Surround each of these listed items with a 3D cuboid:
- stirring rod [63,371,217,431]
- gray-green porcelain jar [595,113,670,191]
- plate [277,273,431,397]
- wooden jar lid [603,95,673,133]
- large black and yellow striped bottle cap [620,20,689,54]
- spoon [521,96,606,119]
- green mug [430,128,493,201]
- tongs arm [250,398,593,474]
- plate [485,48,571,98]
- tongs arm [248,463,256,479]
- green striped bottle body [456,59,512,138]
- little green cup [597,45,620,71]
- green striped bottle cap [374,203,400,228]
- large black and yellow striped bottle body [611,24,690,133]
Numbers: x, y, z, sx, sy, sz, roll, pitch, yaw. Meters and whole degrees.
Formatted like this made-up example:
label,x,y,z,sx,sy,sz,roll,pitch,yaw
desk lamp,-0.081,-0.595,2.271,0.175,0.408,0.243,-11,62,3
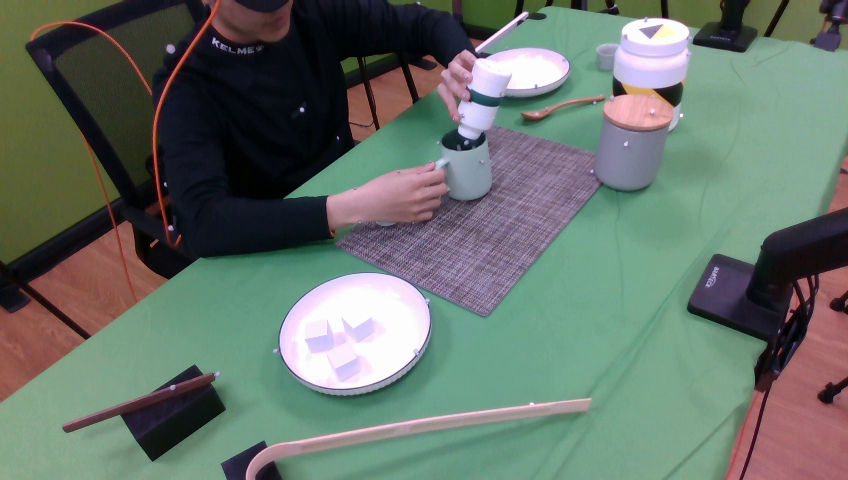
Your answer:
label,x,y,z,sx,sy,sz,roll,pitch,yaw
stirring rod,-0.337,0.192,0.723,0.177,0.014,0.005,-18,42,-12
gray-green porcelain jar,0.346,-0.155,1.017,0.106,0.127,0.105,-2,44,2
plate,-0.091,0.129,0.821,0.207,0.039,0.206,-4,40,4
wooden jar lid,0.343,-0.200,0.974,0.108,0.021,0.108,-2,39,2
large black and yellow striped bottle cap,0.411,-0.363,1.079,0.115,0.019,0.114,-3,42,4
spoon,0.291,-0.277,1.249,0.194,0.022,0.041,-18,23,-11
green mug,0.059,-0.121,1.034,0.126,0.105,0.092,-35,48,-28
tongs arm,0.008,0.212,0.675,0.389,0.028,0.028,-5,46,-11
plate,0.223,-0.371,1.357,0.209,0.038,0.208,-4,41,4
tongs arm,0.012,0.262,0.615,0.385,0.026,0.050,2,42,-2
green striped bottle body,0.092,-0.226,0.980,0.063,0.119,0.063,16,31,-9
little green cup,0.423,-0.413,1.376,0.061,0.039,0.061,-4,41,4
green striped bottle cap,-0.064,-0.042,1.030,0.044,0.020,0.044,-1,45,2
large black and yellow striped bottle body,0.420,-0.299,1.132,0.131,0.185,0.130,-5,40,4
